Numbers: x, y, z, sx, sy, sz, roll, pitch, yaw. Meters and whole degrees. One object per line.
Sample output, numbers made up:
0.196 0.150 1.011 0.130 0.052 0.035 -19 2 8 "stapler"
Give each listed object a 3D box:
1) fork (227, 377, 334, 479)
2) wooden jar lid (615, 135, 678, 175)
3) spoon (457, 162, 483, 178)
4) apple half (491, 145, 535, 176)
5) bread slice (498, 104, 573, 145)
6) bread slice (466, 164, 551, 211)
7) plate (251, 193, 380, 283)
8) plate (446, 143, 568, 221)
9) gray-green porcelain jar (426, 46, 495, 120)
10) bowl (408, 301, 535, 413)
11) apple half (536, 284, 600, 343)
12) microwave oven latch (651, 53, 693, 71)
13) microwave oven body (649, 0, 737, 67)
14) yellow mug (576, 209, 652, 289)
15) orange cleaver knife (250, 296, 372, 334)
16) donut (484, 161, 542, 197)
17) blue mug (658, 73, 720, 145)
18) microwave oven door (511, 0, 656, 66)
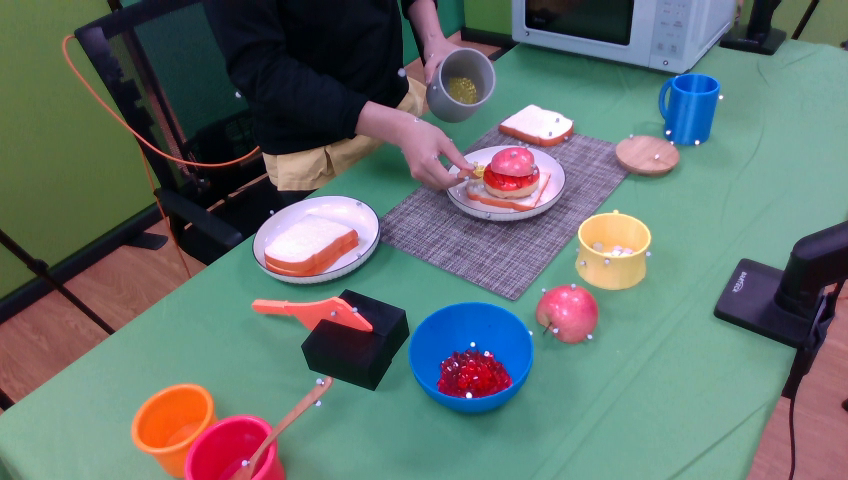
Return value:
-0.163 0.216 0.647 0.207 0.019 0.028 -49 41 16 "fork"
0.398 -0.151 1.086 0.108 0.021 0.108 -1 42 2 "wooden jar lid"
0.068 -0.111 0.959 0.041 0.021 0.194 25 10 6 "spoon"
0.147 -0.138 0.993 0.081 0.033 0.081 1 37 0 "apple half"
0.231 -0.231 1.205 0.105 0.019 0.130 -36 47 -29 "bread slice"
0.141 -0.093 1.042 0.133 0.018 0.107 10 43 20 "bread slice"
-0.174 -0.001 0.984 0.209 0.038 0.208 -4 41 4 "plate"
0.142 -0.097 1.045 0.207 0.039 0.206 -4 40 4 "plate"
0.062 -0.283 1.114 0.106 0.106 0.126 -19 0 -13 "gray-green porcelain jar"
0.059 0.156 0.739 0.151 0.077 0.150 -4 40 4 "bowl"
0.196 0.091 0.815 0.075 0.053 0.080 -22 42 -20 "apple half"
0.532 -0.386 1.301 0.078 0.029 0.030 27 52 34 "microwave oven latch"
0.475 -0.602 1.411 0.438 0.261 0.327 23 50 32 "microwave oven body"
0.279 0.004 0.893 0.099 0.064 0.130 5 42 14 "yellow mug"
-0.158 0.103 0.828 0.210 0.078 0.012 -4 43 39 "orange cleaver knife"
0.149 -0.110 1.016 0.099 0.048 0.098 -4 40 4 "donut"
0.483 -0.250 1.127 0.082 0.106 0.115 -26 44 -19 "blue mug"
0.351 -0.540 1.349 0.353 0.245 0.039 24 50 31 "microwave oven door"
